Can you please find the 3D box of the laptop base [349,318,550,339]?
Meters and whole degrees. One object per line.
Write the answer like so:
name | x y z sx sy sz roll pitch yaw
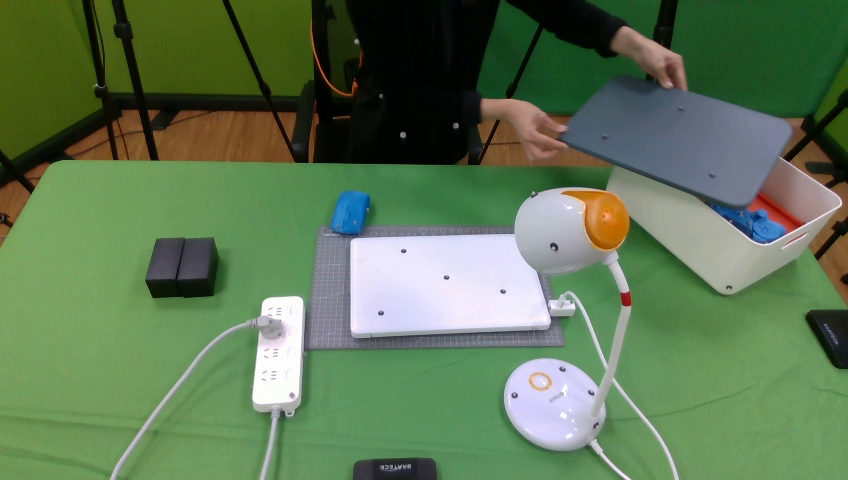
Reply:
laptop base | 0.039 0.081 1.124 0.355 0.023 0.234 -2 43 -6

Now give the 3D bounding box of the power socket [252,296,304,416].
power socket | -0.238 0.181 0.997 0.072 0.033 0.225 -3 47 -5

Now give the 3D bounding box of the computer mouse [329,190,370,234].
computer mouse | -0.150 -0.061 1.232 0.063 0.041 0.116 10 48 4

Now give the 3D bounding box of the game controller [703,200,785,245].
game controller | 0.612 -0.044 1.167 0.154 0.052 0.097 36 56 26

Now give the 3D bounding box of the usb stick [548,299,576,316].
usb stick | 0.239 0.121 1.084 0.059 0.027 0.021 -1 51 -1

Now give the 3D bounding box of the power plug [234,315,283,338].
power plug | -0.269 0.143 1.000 0.072 0.053 0.035 4 47 3

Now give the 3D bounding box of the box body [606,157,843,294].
box body | 0.582 -0.089 1.230 0.254 0.161 0.361 -22 52 -23

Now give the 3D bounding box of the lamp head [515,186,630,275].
lamp head | 0.188 -0.013 0.728 0.112 0.112 0.122 -25 9 -25

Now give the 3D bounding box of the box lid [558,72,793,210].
box lid | 0.475 -0.202 1.153 0.370 0.015 0.263 28 59 28

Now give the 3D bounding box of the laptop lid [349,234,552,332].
laptop lid | 0.040 0.071 1.118 0.357 0.013 0.240 0 44 -5

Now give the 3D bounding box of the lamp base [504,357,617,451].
lamp base | 0.220 0.211 0.903 0.160 0.181 0.178 -33 59 -30
